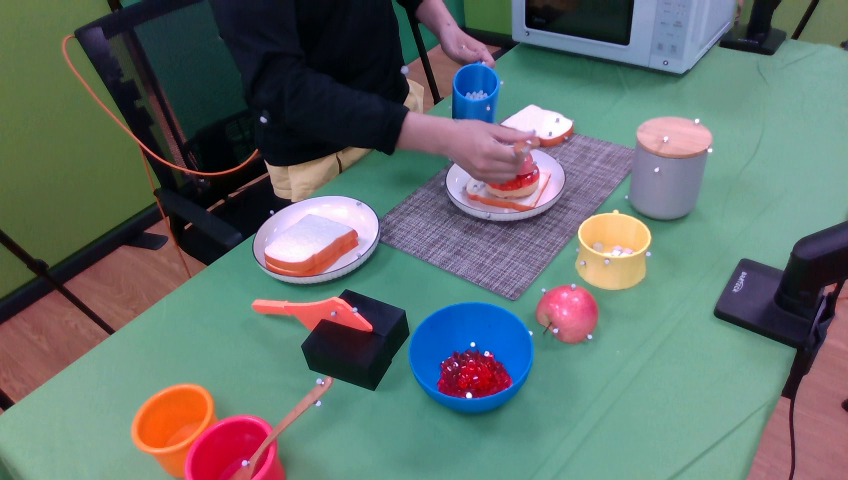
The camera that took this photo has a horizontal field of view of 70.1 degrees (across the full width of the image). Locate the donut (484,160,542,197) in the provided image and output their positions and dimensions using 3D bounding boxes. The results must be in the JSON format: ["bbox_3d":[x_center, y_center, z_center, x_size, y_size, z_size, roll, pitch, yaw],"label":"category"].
[{"bbox_3d":[0.149,-0.110,1.016,0.099,0.048,0.098,-4,40,4],"label":"donut"}]

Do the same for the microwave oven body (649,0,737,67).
[{"bbox_3d":[0.475,-0.602,1.411,0.438,0.261,0.327,23,50,32],"label":"microwave oven body"}]

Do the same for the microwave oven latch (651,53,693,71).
[{"bbox_3d":[0.532,-0.387,1.301,0.078,0.029,0.030,27,52,34],"label":"microwave oven latch"}]

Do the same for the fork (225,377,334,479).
[{"bbox_3d":[-0.163,0.216,0.646,0.207,0.019,0.028,-49,42,16],"label":"fork"}]

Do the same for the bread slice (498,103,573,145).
[{"bbox_3d":[0.231,-0.232,1.205,0.105,0.019,0.130,-36,47,-29],"label":"bread slice"}]

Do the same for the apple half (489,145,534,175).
[{"bbox_3d":[0.144,-0.138,0.995,0.081,0.033,0.081,-1,34,1],"label":"apple half"}]

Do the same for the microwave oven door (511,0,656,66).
[{"bbox_3d":[0.351,-0.540,1.349,0.353,0.245,0.039,24,50,31],"label":"microwave oven door"}]

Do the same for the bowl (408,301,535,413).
[{"bbox_3d":[0.060,0.156,0.739,0.151,0.077,0.150,-4,40,4],"label":"bowl"}]

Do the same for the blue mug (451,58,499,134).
[{"bbox_3d":[0.092,-0.270,1.100,0.082,0.106,0.116,5,67,4],"label":"blue mug"}]

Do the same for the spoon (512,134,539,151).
[{"bbox_3d":[0.142,-0.143,0.881,0.041,0.021,0.194,1,10,15],"label":"spoon"}]

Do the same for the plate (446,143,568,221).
[{"bbox_3d":[0.142,-0.097,1.045,0.207,0.039,0.206,-4,40,4],"label":"plate"}]

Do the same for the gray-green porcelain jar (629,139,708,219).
[{"bbox_3d":[0.383,-0.105,0.958,0.106,0.127,0.105,-4,41,4],"label":"gray-green porcelain jar"}]

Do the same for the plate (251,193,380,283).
[{"bbox_3d":[-0.174,-0.001,0.985,0.209,0.038,0.208,-4,41,4],"label":"plate"}]

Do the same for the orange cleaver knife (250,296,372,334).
[{"bbox_3d":[-0.158,0.103,0.828,0.210,0.078,0.012,-4,43,39],"label":"orange cleaver knife"}]

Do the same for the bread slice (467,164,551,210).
[{"bbox_3d":[0.142,-0.094,1.041,0.133,0.018,0.107,9,42,20],"label":"bread slice"}]

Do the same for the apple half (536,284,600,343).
[{"bbox_3d":[0.196,0.091,0.815,0.075,0.053,0.080,-22,42,-20],"label":"apple half"}]

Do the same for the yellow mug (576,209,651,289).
[{"bbox_3d":[0.279,0.004,0.893,0.099,0.064,0.130,5,42,14],"label":"yellow mug"}]

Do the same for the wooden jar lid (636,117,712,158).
[{"bbox_3d":[0.377,-0.151,0.917,0.108,0.021,0.108,-2,42,2],"label":"wooden jar lid"}]
